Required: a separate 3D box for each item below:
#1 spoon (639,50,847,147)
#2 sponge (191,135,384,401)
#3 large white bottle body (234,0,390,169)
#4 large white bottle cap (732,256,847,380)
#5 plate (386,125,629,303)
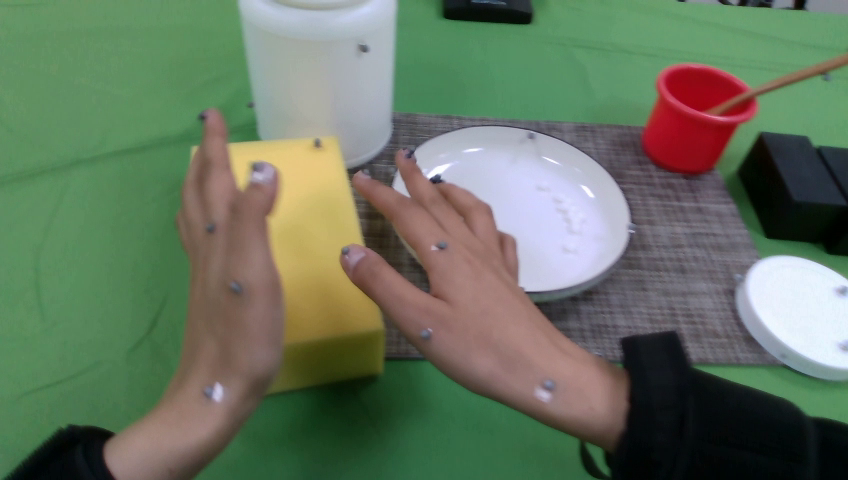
[{"bbox_3d":[0.306,-0.136,0.588,0.193,0.022,0.041,-25,36,32],"label":"spoon"},{"bbox_3d":[-0.110,0.010,0.464,0.118,0.061,0.204,-9,49,-14],"label":"sponge"},{"bbox_3d":[-0.096,-0.169,0.543,0.131,0.186,0.129,3,48,-3],"label":"large white bottle body"},{"bbox_3d":[0.314,0.060,0.497,0.115,0.018,0.113,5,48,-5],"label":"large white bottle cap"},{"bbox_3d":[0.071,-0.024,0.530,0.209,0.038,0.207,4,47,-4],"label":"plate"}]
